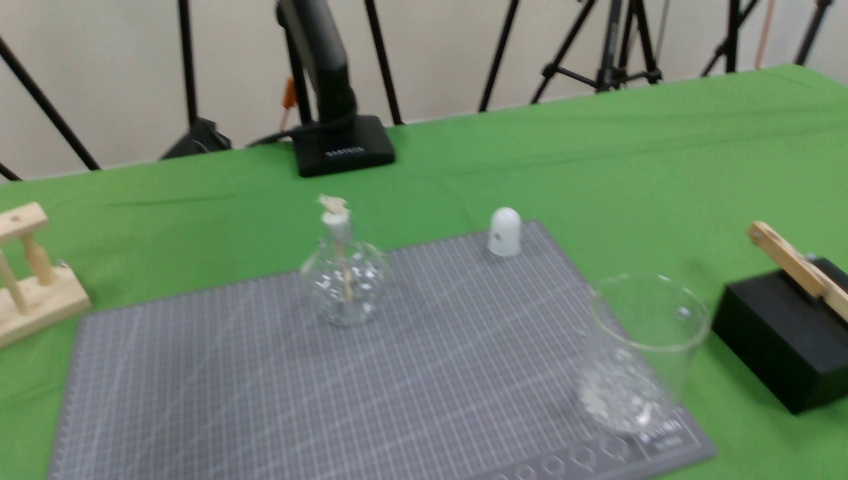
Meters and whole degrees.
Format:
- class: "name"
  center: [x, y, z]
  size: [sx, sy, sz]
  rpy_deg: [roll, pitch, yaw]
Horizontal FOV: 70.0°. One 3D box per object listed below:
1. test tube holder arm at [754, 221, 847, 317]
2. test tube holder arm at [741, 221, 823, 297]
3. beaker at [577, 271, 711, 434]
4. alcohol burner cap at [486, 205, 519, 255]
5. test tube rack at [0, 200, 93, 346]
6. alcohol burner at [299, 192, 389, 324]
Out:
- class: "test tube holder arm"
  center: [0.314, 0.040, 0.467]
  size: [0.013, 0.015, 0.176]
  rpy_deg: [-8, 38, -16]
- class: "test tube holder arm"
  center: [0.295, 0.014, 0.499]
  size: [0.010, 0.015, 0.087]
  rpy_deg: [-7, 38, -15]
- class: "beaker"
  center: [0.147, 0.081, 0.429]
  size: [0.083, 0.101, 0.074]
  rpy_deg: [30, 48, 34]
- class: "alcohol burner cap"
  center: [0.078, -0.012, 0.596]
  size: [0.034, 0.048, 0.033]
  rpy_deg: [-1, 38, 1]
- class: "test tube rack"
  center: [-0.418, 0.061, 0.491]
  size: [0.242, 0.086, 0.066]
  rpy_deg: [-29, 46, -30]
- class: "alcohol burner"
  center: [-0.070, 0.013, 0.512]
  size: [0.078, 0.120, 0.077]
  rpy_deg: [-3, 38, 2]
